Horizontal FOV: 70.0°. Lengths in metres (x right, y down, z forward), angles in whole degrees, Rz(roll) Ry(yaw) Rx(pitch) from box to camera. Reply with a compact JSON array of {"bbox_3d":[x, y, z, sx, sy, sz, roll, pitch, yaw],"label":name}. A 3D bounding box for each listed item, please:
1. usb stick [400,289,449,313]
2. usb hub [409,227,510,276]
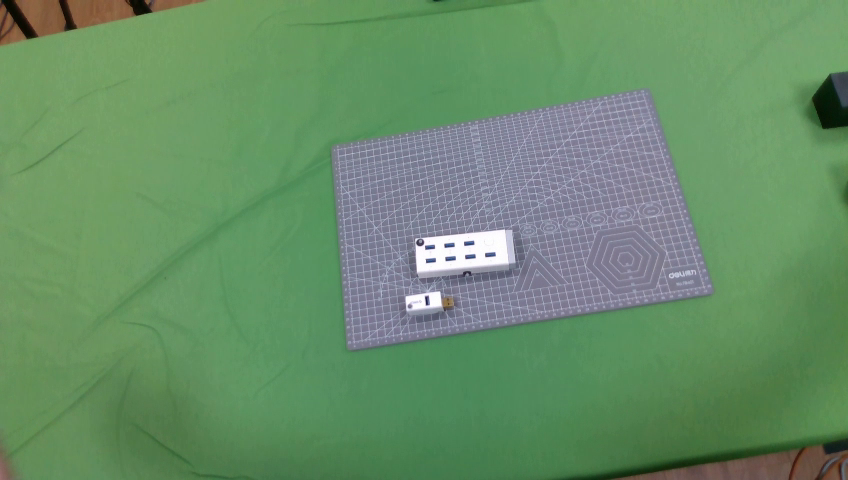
[{"bbox_3d":[0.002,0.075,0.748,0.059,0.027,0.021,-7,68,2],"label":"usb stick"},{"bbox_3d":[0.044,0.013,0.767,0.125,0.025,0.049,-5,68,4],"label":"usb hub"}]
